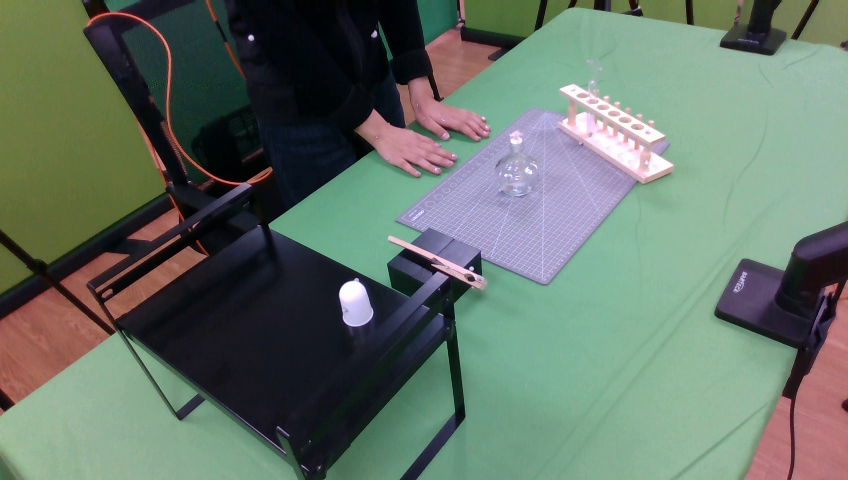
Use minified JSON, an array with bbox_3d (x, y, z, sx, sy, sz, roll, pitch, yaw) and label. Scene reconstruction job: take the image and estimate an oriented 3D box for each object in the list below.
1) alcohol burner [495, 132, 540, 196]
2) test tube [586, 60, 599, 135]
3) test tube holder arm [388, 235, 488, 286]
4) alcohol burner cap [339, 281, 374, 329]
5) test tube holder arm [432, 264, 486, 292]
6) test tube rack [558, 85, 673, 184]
[{"bbox_3d":[0.159,-0.135,1.035,0.078,0.119,0.077,-5,42,5],"label":"alcohol burner"},{"bbox_3d":[0.306,-0.256,1.100,0.017,0.151,0.017,-6,44,6],"label":"test tube"},{"bbox_3d":[0.016,0.027,0.863,0.177,0.015,0.013,26,83,34],"label":"test tube holder arm"},{"bbox_3d":[-0.071,0.063,0.617,0.034,0.048,0.033,-5,39,4],"label":"alcohol burner cap"},{"bbox_3d":[0.047,0.048,0.837,0.087,0.015,0.010,27,84,34],"label":"test tube holder arm"},{"bbox_3d":[0.347,-0.203,1.109,0.067,0.085,0.240,-22,42,-17],"label":"test tube rack"}]
